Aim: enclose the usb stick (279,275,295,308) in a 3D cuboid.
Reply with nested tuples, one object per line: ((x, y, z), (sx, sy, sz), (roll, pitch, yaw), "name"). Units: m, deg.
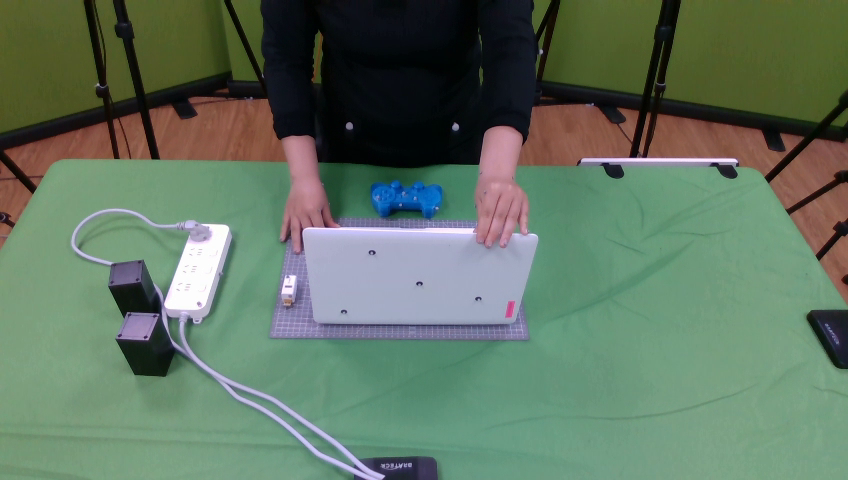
((-0.244, 0.093, 1.079), (0.021, 0.027, 0.059), (2, 47, -4), "usb stick")

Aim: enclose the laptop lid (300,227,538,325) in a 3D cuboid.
((-0.010, 0.065, 0.966), (0.357, 0.243, 0.013), (2, 46, -5), "laptop lid")

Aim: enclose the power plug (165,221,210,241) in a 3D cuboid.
((-0.440, -0.015, 1.143), (0.072, 0.053, 0.035), (7, 46, 9), "power plug")

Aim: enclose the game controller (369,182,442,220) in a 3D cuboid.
((-0.039, -0.091, 1.267), (0.155, 0.052, 0.096), (2, 50, -2), "game controller")

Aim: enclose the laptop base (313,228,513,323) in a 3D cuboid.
((-0.020, 0.063, 1.135), (0.354, 0.023, 0.234), (1, 42, -4), "laptop base")

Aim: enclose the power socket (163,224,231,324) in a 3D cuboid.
((-0.411, 0.052, 1.107), (0.072, 0.033, 0.225), (3, 46, -3), "power socket")
